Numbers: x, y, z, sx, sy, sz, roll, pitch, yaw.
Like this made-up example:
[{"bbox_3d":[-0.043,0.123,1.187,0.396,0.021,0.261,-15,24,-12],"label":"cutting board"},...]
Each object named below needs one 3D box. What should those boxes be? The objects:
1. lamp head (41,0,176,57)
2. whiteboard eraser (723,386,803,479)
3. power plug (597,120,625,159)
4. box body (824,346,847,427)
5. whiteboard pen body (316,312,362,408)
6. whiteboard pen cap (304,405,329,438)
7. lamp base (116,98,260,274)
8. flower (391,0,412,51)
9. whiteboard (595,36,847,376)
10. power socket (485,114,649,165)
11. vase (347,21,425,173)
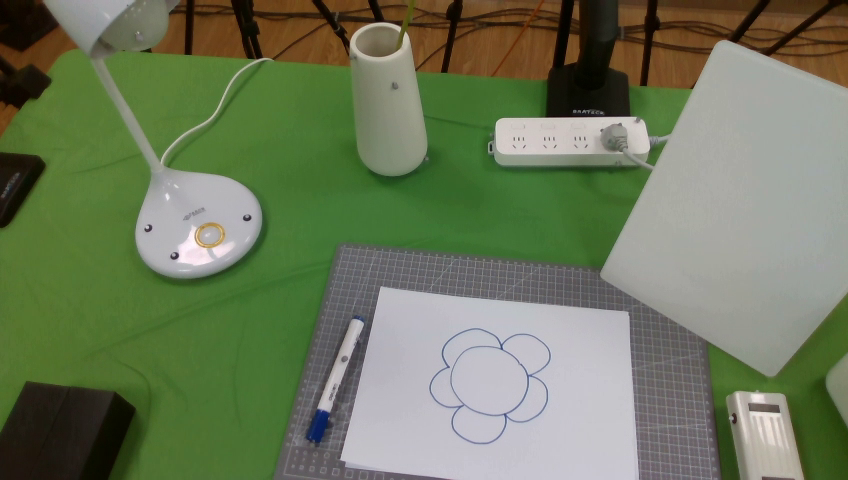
[{"bbox_3d":[-0.271,-0.226,0.485,0.123,0.112,0.112,46,63,-14],"label":"lamp head"},{"bbox_3d":[0.339,0.205,0.608,0.055,0.042,0.111,4,56,3],"label":"whiteboard eraser"},{"bbox_3d":[0.249,-0.128,0.811,0.035,0.053,0.072,10,64,9],"label":"power plug"},{"bbox_3d":[0.569,0.218,0.518,0.254,0.162,0.360,-10,57,-5],"label":"box body"},{"bbox_3d":[-0.097,0.144,0.672,0.017,0.017,0.140,13,60,11],"label":"whiteboard pen body"},{"bbox_3d":[-0.113,0.193,0.644,0.018,0.018,0.033,12,60,11],"label":"whiteboard pen cap"},{"bbox_3d":[-0.308,-0.074,0.734,0.177,0.182,0.160,35,64,26],"label":"lamp base"},{"bbox_3d":[-0.036,-0.215,0.708,0.044,0.363,0.038,-31,77,-27],"label":"flower"},{"bbox_3d":[0.363,-0.046,0.653,0.215,0.307,0.144,34,43,23],"label":"whiteboard"},{"bbox_3d":[0.200,-0.141,0.848,0.227,0.033,0.071,1,57,2],"label":"power socket"},{"bbox_3d":[-0.052,-0.178,0.782,0.098,0.202,0.097,-2,56,3],"label":"vase"}]
